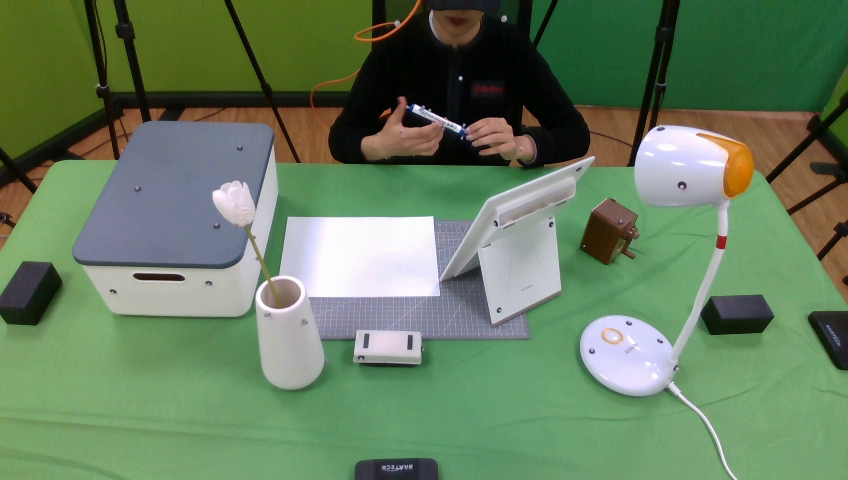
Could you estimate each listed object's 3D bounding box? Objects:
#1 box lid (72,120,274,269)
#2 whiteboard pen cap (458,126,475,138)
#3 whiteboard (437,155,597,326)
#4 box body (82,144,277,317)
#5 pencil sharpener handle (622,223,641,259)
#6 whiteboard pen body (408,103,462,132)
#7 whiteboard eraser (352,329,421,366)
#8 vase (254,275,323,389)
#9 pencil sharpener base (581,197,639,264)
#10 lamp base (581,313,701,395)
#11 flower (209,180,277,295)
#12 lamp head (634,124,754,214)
[{"bbox_3d":[-0.417,-0.094,1.056,0.263,0.015,0.369,1,47,-3],"label":"box lid"},{"bbox_3d":[0.087,-0.225,1.255,0.033,0.018,0.018,21,48,9],"label":"whiteboard pen cap"},{"bbox_3d":[0.180,0.023,1.029,0.217,0.306,0.143,-21,71,-23],"label":"whiteboard"},{"bbox_3d":[-0.421,-0.041,1.108,0.254,0.161,0.361,2,46,-3],"label":"box body"},{"bbox_3d":[0.397,0.002,1.146,0.030,0.068,0.036,37,46,27],"label":"pencil sharpener handle"},{"bbox_3d":[0.034,-0.246,1.242,0.141,0.017,0.017,22,45,-14],"label":"whiteboard pen body"},{"bbox_3d":[-0.061,0.180,1.005,0.113,0.042,0.055,3,48,-3],"label":"whiteboard eraser"},{"bbox_3d":[-0.209,0.143,0.921,0.098,0.201,0.097,1,46,-1],"label":"vase"},{"bbox_3d":[0.362,-0.017,1.179,0.076,0.107,0.061,37,54,27],"label":"pencil sharpener base"},{"bbox_3d":[0.361,0.144,0.972,0.178,0.181,0.160,34,53,23],"label":"lamp base"},{"bbox_3d":[-0.217,0.075,0.872,0.044,0.363,0.038,-28,36,-19],"label":"flower"},{"bbox_3d":[0.351,-0.089,0.776,0.112,0.113,0.122,-30,30,-28],"label":"lamp head"}]
